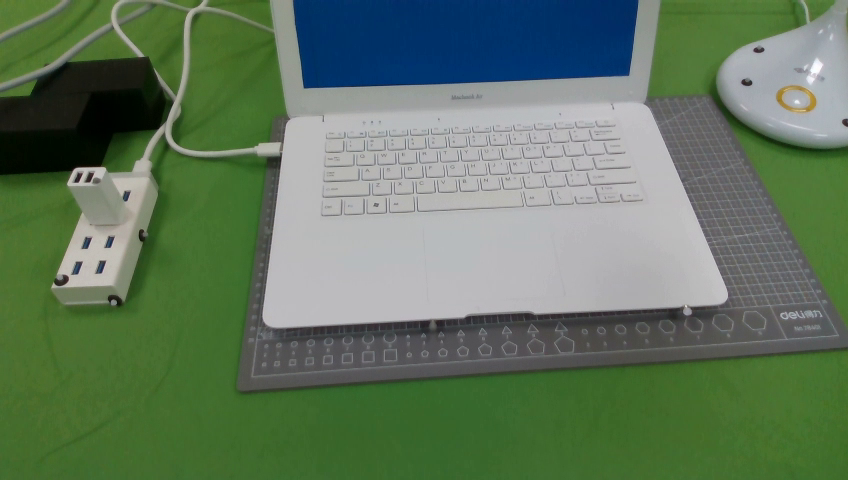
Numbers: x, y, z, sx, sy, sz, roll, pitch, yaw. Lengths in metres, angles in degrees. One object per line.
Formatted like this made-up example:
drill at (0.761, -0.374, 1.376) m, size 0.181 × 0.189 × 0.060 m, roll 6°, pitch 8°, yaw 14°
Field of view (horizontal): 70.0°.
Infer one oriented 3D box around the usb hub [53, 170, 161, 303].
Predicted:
usb hub at (-0.259, -0.006, 0.501) m, size 0.049 × 0.025 × 0.124 m, roll -3°, pitch 50°, yaw -1°

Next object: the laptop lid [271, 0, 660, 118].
laptop lid at (0.040, -0.225, 0.540) m, size 0.357 × 0.243 × 0.013 m, roll -4°, pitch 30°, yaw -2°

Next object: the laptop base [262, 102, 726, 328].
laptop base at (0.050, -0.031, 0.525) m, size 0.354 × 0.023 × 0.233 m, roll -3°, pitch 54°, yaw -2°

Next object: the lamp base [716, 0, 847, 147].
lamp base at (0.385, -0.208, 0.565) m, size 0.160 × 0.182 × 0.178 m, roll 21°, pitch 52°, yaw 17°

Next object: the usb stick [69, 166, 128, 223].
usb stick at (-0.256, -0.031, 0.484) m, size 0.027 × 0.060 × 0.021 m, roll -4°, pitch 51°, yaw -1°
